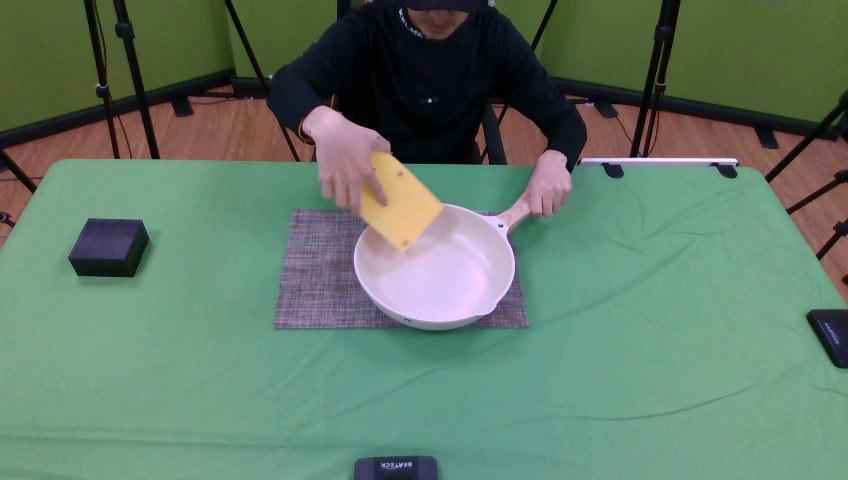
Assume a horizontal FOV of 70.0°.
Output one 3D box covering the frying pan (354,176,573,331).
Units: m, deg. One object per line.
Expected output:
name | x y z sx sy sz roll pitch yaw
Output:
frying pan | 0.102 -0.001 1.142 0.488 0.103 0.305 -31 56 -19

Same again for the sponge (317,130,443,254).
sponge | -0.076 -0.083 1.090 0.118 0.208 0.060 -48 37 -2
